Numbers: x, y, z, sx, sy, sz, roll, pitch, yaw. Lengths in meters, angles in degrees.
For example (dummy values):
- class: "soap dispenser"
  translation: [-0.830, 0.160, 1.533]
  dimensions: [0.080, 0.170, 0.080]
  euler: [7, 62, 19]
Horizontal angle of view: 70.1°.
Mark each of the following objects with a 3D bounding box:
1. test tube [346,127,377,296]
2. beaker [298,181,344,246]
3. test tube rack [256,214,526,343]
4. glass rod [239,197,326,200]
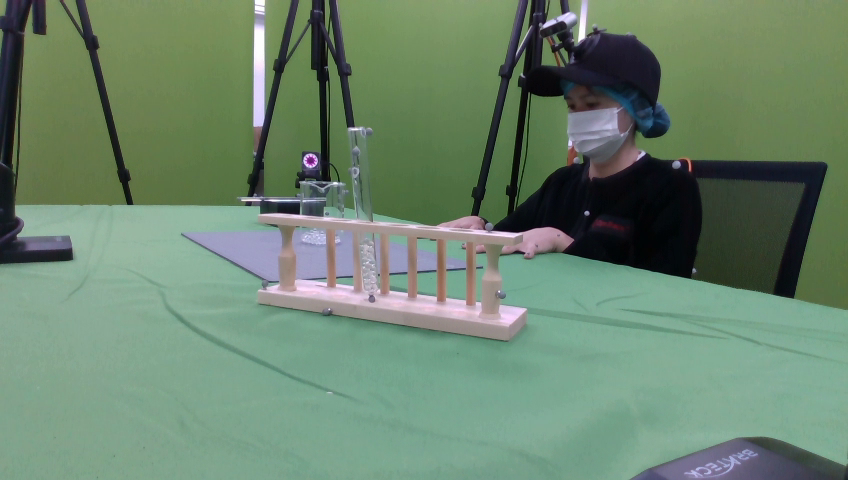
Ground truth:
- class: "test tube"
  translation: [-0.054, -0.023, 0.529]
  dimensions: [0.017, 0.150, 0.017]
  euler: [-4, 12, 1]
- class: "beaker"
  translation: [-0.166, -0.043, 0.972]
  dimensions: [0.074, 0.100, 0.084]
  euler: [1, 8, -10]
- class: "test tube rack"
  translation: [-0.032, 0.027, 0.547]
  dimensions: [0.241, 0.085, 0.067]
  euler: [6, 8, 22]
- class: "glass rod"
  translation: [-0.287, -0.087, 1.250]
  dimensions: [0.201, 0.008, 0.008]
  euler: [-4, 10, -42]
